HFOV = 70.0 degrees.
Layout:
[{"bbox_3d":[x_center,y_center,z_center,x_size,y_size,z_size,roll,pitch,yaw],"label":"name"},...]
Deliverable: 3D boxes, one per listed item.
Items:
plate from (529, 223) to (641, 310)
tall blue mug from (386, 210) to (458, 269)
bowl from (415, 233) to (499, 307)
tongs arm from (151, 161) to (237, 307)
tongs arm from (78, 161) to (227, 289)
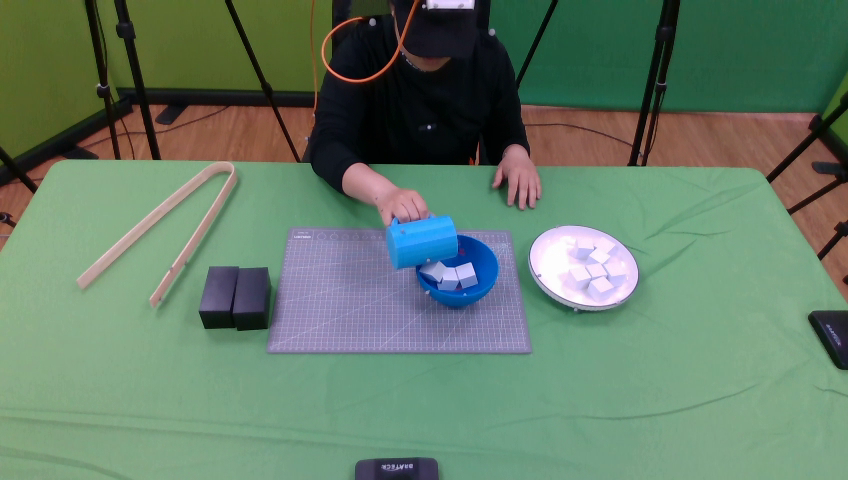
[{"bbox_3d":[0.303,0.053,1.156,0.209,0.038,0.208,2,46,-1],"label":"plate"},{"bbox_3d":[-0.009,-0.012,1.047,0.108,0.078,0.107,-12,75,-13],"label":"tall blue mug"},{"bbox_3d":[0.057,0.067,1.093,0.151,0.077,0.150,2,46,-2],"label":"bowl"},{"bbox_3d":[-0.447,-0.026,1.180,0.051,0.027,0.383,8,46,10],"label":"tongs arm"},{"bbox_3d":[-0.524,-0.043,1.196,0.028,0.028,0.386,15,47,22],"label":"tongs arm"}]
